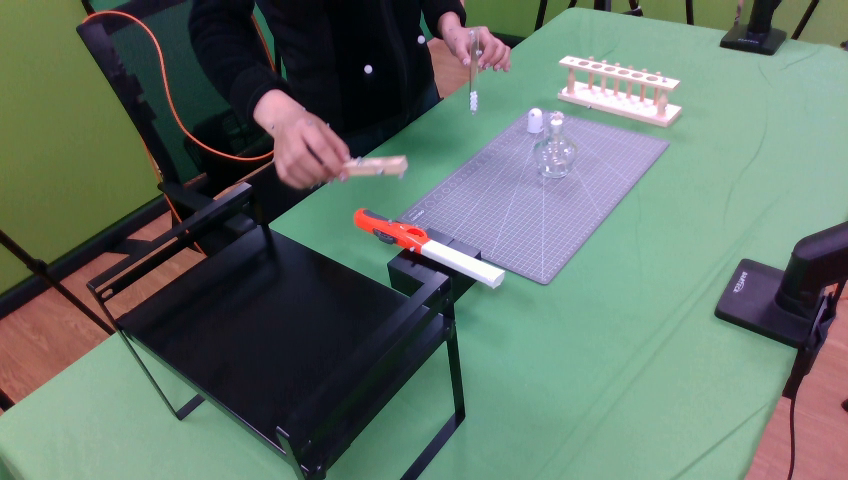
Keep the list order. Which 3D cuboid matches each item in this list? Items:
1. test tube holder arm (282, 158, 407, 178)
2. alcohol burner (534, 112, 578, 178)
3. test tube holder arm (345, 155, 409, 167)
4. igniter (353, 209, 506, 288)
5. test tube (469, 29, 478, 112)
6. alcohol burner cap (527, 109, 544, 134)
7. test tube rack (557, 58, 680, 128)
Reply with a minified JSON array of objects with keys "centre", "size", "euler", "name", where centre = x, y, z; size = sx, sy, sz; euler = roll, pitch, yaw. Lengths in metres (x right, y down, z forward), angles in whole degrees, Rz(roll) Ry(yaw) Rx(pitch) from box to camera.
[{"centre":[-0.100,-0.086,0.725],"size":[0.177,0.015,0.013],"euler":[-1,25,27],"name":"test tube holder arm"},{"centre":[0.232,-0.170,1.065],"size":[0.078,0.119,0.077],"euler":[-5,39,5],"name":"alcohol burner"},{"centre":[-0.058,-0.089,0.708],"size":[0.087,0.015,0.010],"euler":[0,25,29],"name":"test tube holder arm"},{"centre":[-0.003,0.006,0.892],"size":[0.274,0.025,0.057],"euler":[24,38,31],"name":"igniter"},{"centre":[0.088,-0.296,1.070],"size":[0.017,0.151,0.017],"euler":[-2,37,2],"name":"test tube"},{"centre":[0.222,-0.238,1.203],"size":[0.034,0.048,0.033],"euler":[-5,40,5],"name":"alcohol burner cap"},{"centre":[0.395,-0.309,1.230],"size":[0.240,0.085,0.067],"euler":[25,50,33],"name":"test tube rack"}]
